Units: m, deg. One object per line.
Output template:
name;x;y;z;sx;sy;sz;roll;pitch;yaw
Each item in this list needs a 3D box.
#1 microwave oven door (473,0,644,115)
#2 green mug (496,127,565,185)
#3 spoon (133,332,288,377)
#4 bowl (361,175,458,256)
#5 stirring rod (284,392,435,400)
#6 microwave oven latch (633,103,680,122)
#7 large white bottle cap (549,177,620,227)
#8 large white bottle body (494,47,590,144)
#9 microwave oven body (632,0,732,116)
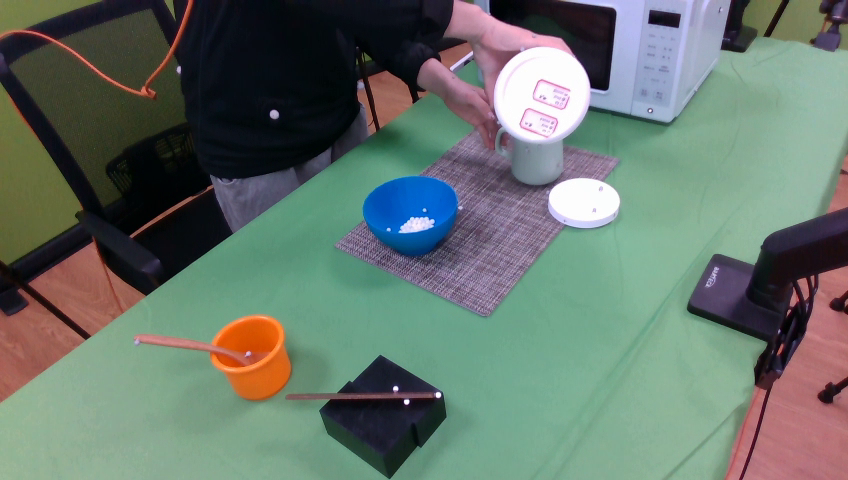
microwave oven door;0.257;-0.396;1.199;0.353;0.245;0.039;21;48;29
green mug;0.185;-0.161;1.061;0.124;0.105;0.092;15;46;25
spoon;-0.257;0.137;0.747;0.021;0.195;0.041;-46;40;23
bowl;-0.019;-0.028;0.955;0.151;0.077;0.150;-4;40;3
stirring rod;-0.075;0.180;0.698;0.176;0.006;0.014;-2;6;7
microwave oven latch;0.443;-0.249;1.157;0.078;0.029;0.030;21;49;30
large white bottle cap;0.265;-0.064;1.000;0.115;0.018;0.114;-1;43;1
large white bottle body;0.172;-0.214;0.906;0.130;0.130;0.184;-1;13;8
microwave oven body;0.377;-0.462;1.267;0.438;0.261;0.327;21;48;30
